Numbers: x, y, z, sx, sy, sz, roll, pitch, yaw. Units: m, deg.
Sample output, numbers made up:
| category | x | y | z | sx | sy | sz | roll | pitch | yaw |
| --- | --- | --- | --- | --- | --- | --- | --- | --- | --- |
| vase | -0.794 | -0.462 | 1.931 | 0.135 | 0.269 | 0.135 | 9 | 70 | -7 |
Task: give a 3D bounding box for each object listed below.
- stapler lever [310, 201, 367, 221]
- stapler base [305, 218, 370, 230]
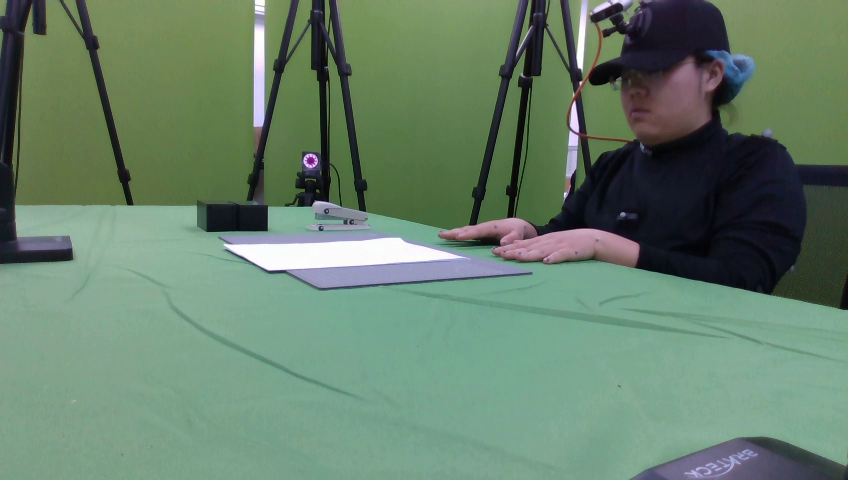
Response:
| category | x | y | z | sx | sy | sz | roll | pitch | yaw |
| --- | --- | --- | --- | --- | --- | --- | --- | --- | --- |
| stapler lever | -0.171 | -0.057 | 1.213 | 0.119 | 0.040 | 0.026 | -1 | 11 | -34 |
| stapler base | -0.173 | -0.034 | 1.215 | 0.131 | 0.024 | 0.041 | 0 | 10 | -35 |
